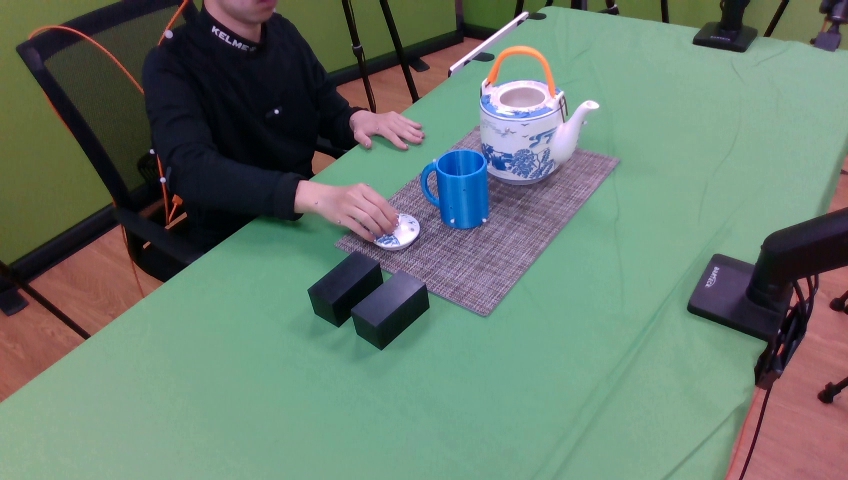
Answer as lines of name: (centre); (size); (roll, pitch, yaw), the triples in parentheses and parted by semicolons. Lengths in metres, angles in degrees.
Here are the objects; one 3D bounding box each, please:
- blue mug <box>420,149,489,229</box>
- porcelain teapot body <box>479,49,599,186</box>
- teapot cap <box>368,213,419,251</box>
blue mug: (0.048, -0.085, 0.991); (0.116, 0.106, 0.082); (9, 43, 19)
porcelain teapot body: (0.192, -0.208, 1.023); (0.204, 0.226, 0.145); (16, 46, 25)
teapot cap: (-0.049, -0.019, 0.976); (0.085, 0.044, 0.084); (-4, 43, 4)
